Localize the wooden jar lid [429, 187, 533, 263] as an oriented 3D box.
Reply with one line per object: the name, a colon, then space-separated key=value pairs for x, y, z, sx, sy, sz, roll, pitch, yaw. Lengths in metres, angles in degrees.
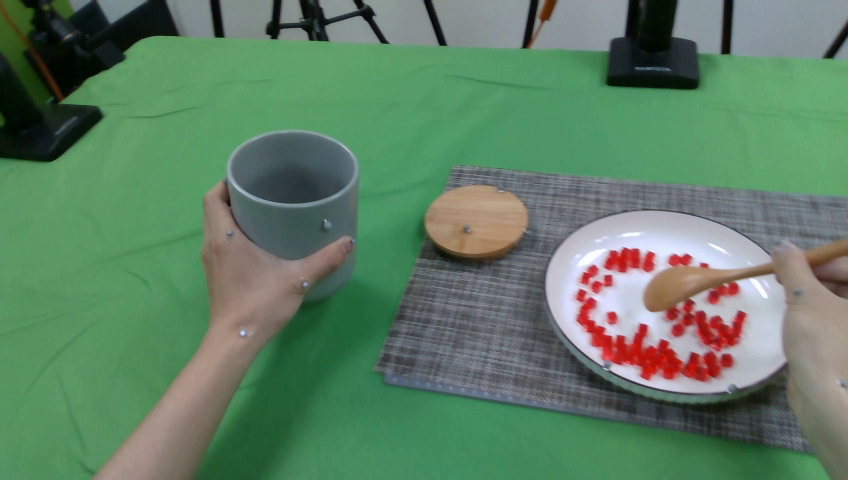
wooden jar lid: x=0.060 y=-0.015 z=0.637 sx=0.108 sy=0.021 sz=0.107 roll=-3 pitch=43 yaw=3

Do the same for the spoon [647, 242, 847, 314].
spoon: x=0.253 y=0.022 z=0.453 sx=0.193 sy=0.022 sz=0.041 roll=-21 pitch=35 yaw=42

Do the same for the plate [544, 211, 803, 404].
plate: x=0.210 y=0.056 z=0.529 sx=0.207 sy=0.039 sz=0.205 roll=-4 pitch=44 yaw=4

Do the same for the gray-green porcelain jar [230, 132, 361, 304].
gray-green porcelain jar: x=-0.110 y=-0.014 z=0.538 sx=0.106 sy=0.127 sz=0.105 roll=4 pitch=43 yaw=-3
